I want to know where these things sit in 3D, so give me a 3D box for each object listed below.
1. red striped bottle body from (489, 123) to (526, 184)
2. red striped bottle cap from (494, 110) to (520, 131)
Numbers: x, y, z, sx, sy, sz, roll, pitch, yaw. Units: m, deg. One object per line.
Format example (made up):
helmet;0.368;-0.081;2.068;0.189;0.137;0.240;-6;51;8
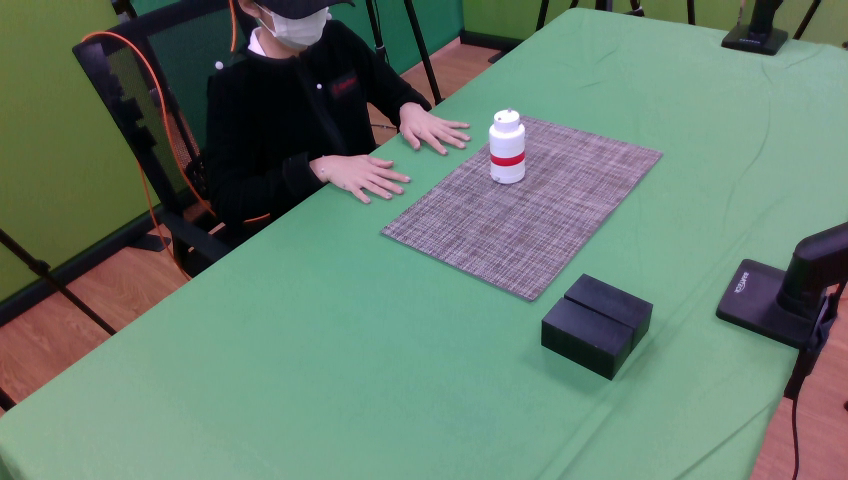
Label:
red striped bottle body;0.147;-0.164;1.064;0.063;0.120;0.062;-5;40;4
red striped bottle cap;0.142;-0.204;1.030;0.044;0.018;0.044;-6;37;5
